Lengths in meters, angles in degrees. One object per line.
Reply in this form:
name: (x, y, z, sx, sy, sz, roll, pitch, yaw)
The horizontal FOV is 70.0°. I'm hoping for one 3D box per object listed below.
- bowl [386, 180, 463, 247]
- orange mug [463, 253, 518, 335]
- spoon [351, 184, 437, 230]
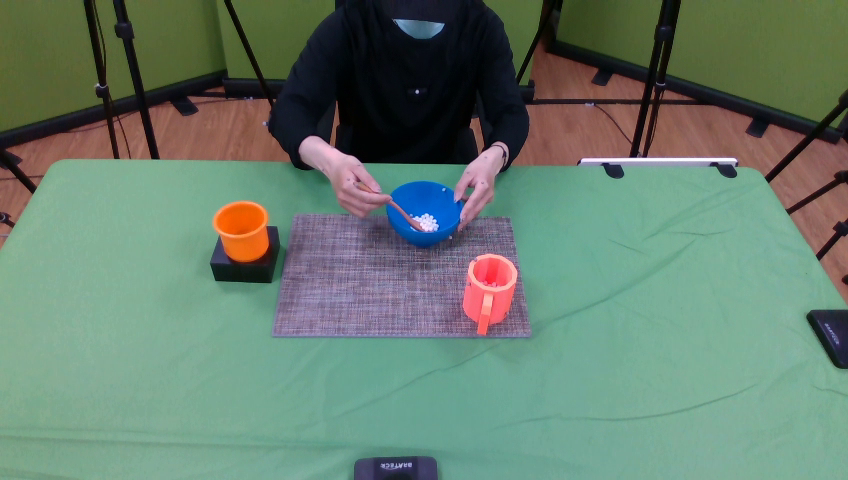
bowl: (0.000, -0.040, 1.190, 0.151, 0.077, 0.150, 2, 46, -2)
orange mug: (0.113, 0.098, 1.050, 0.083, 0.101, 0.125, 10, 42, 6)
spoon: (-0.054, -0.061, 1.124, 0.195, 0.041, 0.021, 28, 50, -28)
